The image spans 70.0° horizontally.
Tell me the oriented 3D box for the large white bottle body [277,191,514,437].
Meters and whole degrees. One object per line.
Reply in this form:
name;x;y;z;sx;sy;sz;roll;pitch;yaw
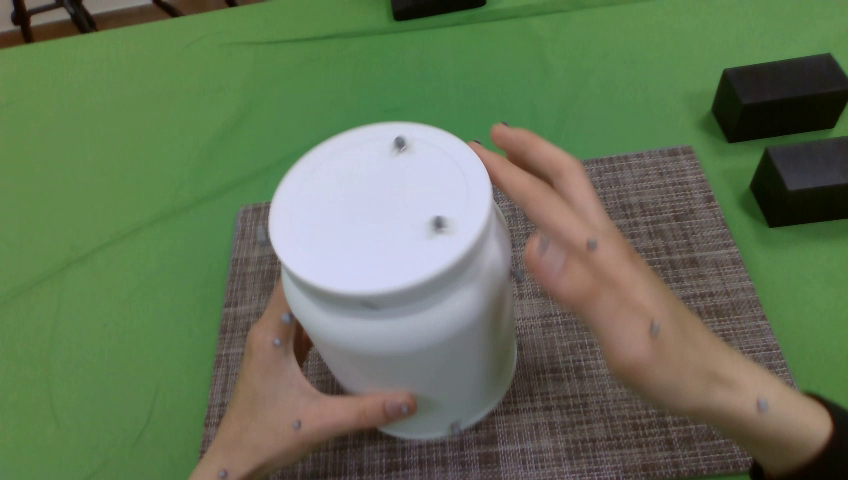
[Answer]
large white bottle body;-0.012;0.032;0.377;0.130;0.186;0.129;-5;53;7

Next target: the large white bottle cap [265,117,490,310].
large white bottle cap;-0.024;-0.018;0.309;0.115;0.018;0.113;-4;54;6
